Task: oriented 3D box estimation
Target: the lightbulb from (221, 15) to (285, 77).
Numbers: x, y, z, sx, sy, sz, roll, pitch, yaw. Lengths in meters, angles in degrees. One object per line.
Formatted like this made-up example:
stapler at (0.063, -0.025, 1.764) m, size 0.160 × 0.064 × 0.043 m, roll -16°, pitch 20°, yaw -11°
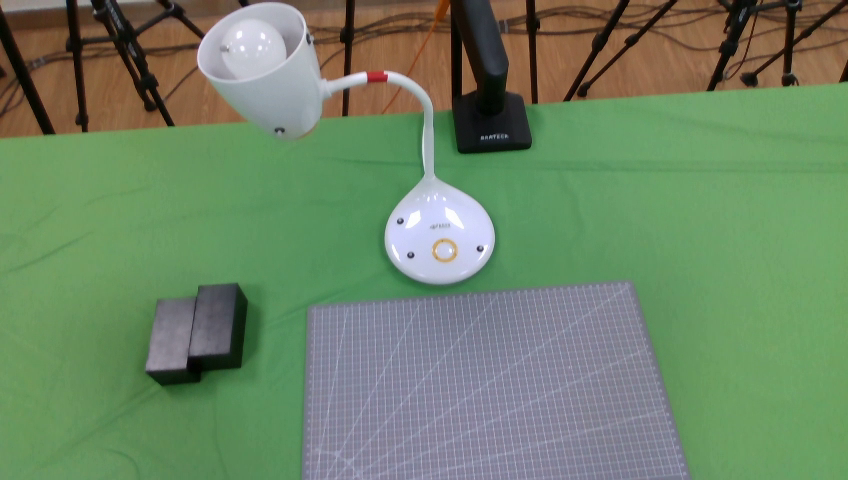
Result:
lightbulb at (-0.161, -0.174, 0.606) m, size 0.059 × 0.108 × 0.059 m, roll -4°, pitch 63°, yaw 8°

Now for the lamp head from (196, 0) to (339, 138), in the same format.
lamp head at (-0.152, -0.168, 0.629) m, size 0.112 × 0.124 × 0.111 m, roll -8°, pitch 59°, yaw 14°

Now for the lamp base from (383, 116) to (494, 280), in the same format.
lamp base at (0.014, -0.063, 0.816) m, size 0.161 × 0.182 × 0.177 m, roll -16°, pitch 56°, yaw -8°
